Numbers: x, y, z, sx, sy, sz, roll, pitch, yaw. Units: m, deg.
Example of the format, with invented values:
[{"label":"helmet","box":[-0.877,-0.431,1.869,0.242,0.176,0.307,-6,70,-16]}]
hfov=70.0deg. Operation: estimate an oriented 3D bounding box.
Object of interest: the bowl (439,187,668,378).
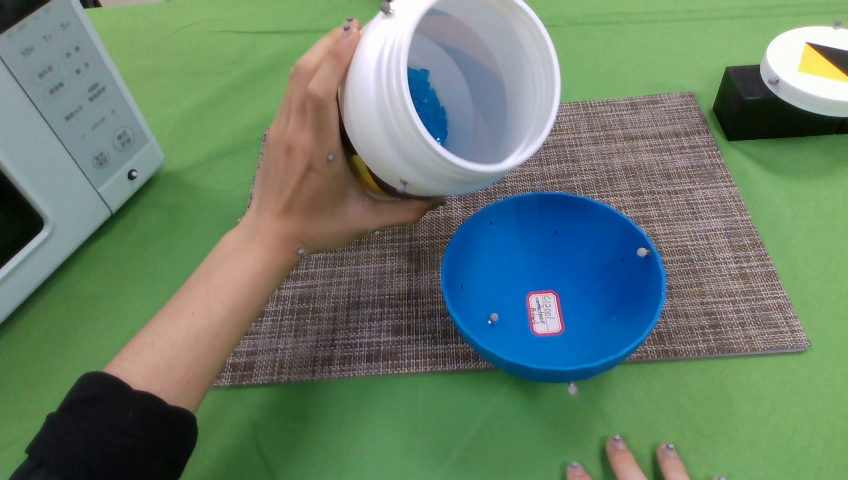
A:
[{"label":"bowl","box":[0.088,0.042,0.438,0.151,0.077,0.150,-3,51,4]}]

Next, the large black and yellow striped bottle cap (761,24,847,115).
[{"label":"large black and yellow striped bottle cap","box":[0.369,-0.157,0.547,0.115,0.019,0.114,-4,50,5]}]

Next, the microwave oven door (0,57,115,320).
[{"label":"microwave oven door","box":[-0.392,0.019,0.385,0.039,0.246,0.354,18,56,20]}]

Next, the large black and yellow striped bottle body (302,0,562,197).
[{"label":"large black and yellow striped bottle body","box":[-0.002,-0.098,0.429,0.131,0.131,0.183,-35,16,-20]}]

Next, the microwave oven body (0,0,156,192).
[{"label":"microwave oven body","box":[-0.503,-0.051,0.460,0.324,0.263,0.439,19,56,19]}]

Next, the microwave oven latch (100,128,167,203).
[{"label":"microwave oven latch","box":[-0.283,-0.074,0.580,0.030,0.030,0.079,21,57,20]}]
